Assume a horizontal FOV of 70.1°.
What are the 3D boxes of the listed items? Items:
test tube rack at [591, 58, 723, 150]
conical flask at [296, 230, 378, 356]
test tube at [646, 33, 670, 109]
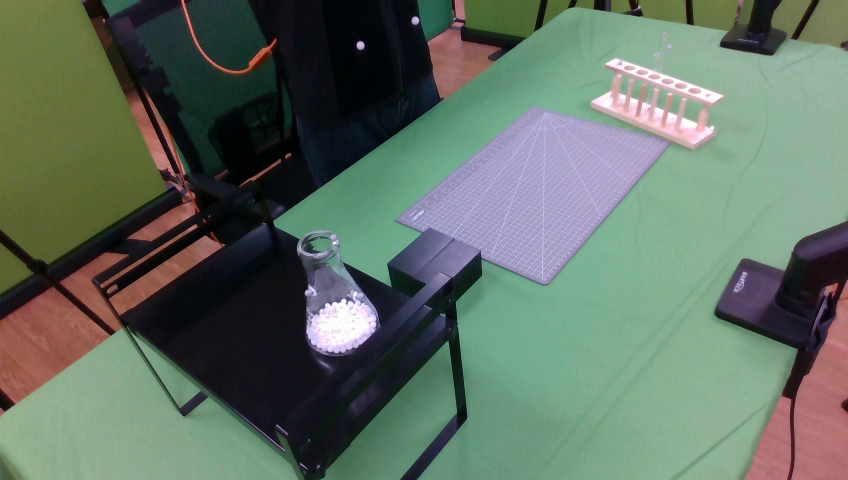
[{"bbox_3d":[0.442,-0.269,1.171,0.067,0.085,0.240,-30,46,-24],"label":"test tube rack"},{"bbox_3d":[-0.090,0.048,0.578,0.075,0.122,0.075,-5,41,5],"label":"conical flask"},{"bbox_3d":[0.445,-0.319,1.154,0.017,0.151,0.017,-1,41,2],"label":"test tube"}]
